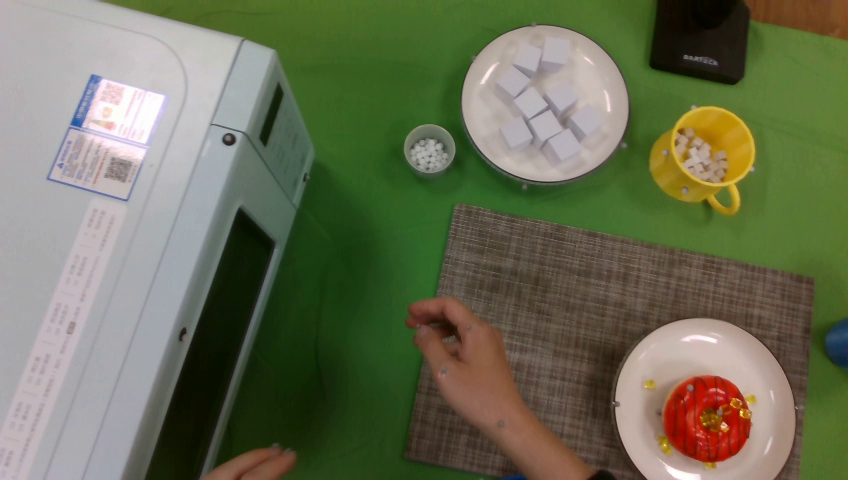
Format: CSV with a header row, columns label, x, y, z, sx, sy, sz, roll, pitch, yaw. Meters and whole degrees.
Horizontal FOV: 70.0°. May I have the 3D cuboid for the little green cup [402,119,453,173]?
label,x,y,z,sx,sy,sz,roll,pitch,yaw
little green cup,0.004,-0.111,0.732,0.061,0.039,0.061,0,80,-2

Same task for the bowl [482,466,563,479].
label,x,y,z,sx,sy,sz,roll,pitch,yaw
bowl,0.099,0.311,0.638,0.151,0.077,0.150,0,79,-2

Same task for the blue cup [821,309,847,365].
label,x,y,z,sx,sy,sz,roll,pitch,yaw
blue cup,0.509,0.108,0.681,0.093,0.100,0.092,1,78,-4

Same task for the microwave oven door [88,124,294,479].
label,x,y,z,sx,sy,sz,roll,pitch,yaw
microwave oven door,-0.208,0.097,0.563,0.039,0.244,0.354,14,79,1

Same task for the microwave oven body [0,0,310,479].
label,x,y,z,sx,sy,sz,roll,pitch,yaw
microwave oven body,-0.338,0.020,0.577,0.326,0.261,0.440,15,80,0

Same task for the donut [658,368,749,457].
label,x,y,z,sx,sy,sz,roll,pitch,yaw
donut,0.310,0.191,0.674,0.099,0.048,0.098,0,82,-1

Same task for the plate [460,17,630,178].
label,x,y,z,sx,sy,sz,roll,pitch,yaw
plate,0.147,-0.173,0.751,0.208,0.039,0.206,0,79,-2

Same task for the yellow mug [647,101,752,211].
label,x,y,z,sx,sy,sz,roll,pitch,yaw
yellow mug,0.338,-0.095,0.731,0.100,0.064,0.130,-25,82,-7

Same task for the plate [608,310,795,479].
label,x,y,z,sx,sy,sz,roll,pitch,yaw
plate,0.309,0.184,0.687,0.209,0.038,0.208,0,80,-2

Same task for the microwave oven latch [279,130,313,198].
label,x,y,z,sx,sy,sz,roll,pitch,yaw
microwave oven latch,-0.153,-0.091,0.704,0.030,0.029,0.079,18,80,1
